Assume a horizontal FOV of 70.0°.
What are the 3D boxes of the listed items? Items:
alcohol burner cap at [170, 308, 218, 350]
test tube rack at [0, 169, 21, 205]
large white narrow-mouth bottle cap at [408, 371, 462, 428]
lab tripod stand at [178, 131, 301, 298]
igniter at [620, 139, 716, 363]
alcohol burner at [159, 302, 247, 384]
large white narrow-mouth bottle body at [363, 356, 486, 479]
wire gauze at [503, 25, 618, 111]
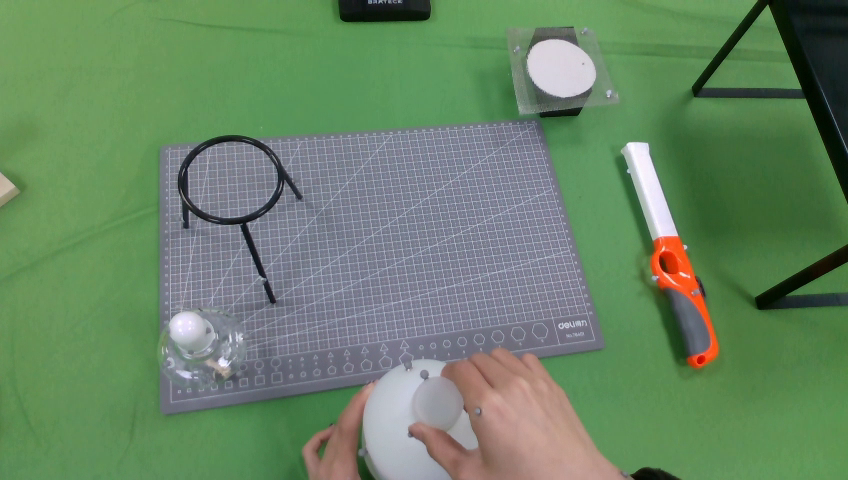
[{"bbox_3d":[-0.197,0.074,0.513,0.034,0.048,0.033,2,72,-6],"label":"alcohol burner cap"},{"bbox_3d":[-0.524,-0.011,0.566,0.066,0.085,0.242,39,67,10],"label":"test tube rack"},{"bbox_3d":[0.007,0.110,0.416,0.038,0.024,0.037,2,66,-5],"label":"large white narrow-mouth bottle cap"},{"bbox_3d":[-0.174,-0.029,0.590,0.149,0.132,0.147,4,66,-8],"label":"lab tripod stand"},{"bbox_3d":[0.278,0.004,0.695,0.057,0.025,0.274,-1,67,-19],"label":"igniter"},{"bbox_3d":[-0.201,0.088,0.546,0.078,0.120,0.077,4,64,-7],"label":"alcohol burner"},{"bbox_3d":[-0.001,0.151,0.502,0.102,0.196,0.101,2,65,-5],"label":"large white narrow-mouth bottle body"},{"bbox_3d":[0.163,-0.212,0.733,0.122,0.011,0.124,-5,68,-9],"label":"wire gauze"}]
